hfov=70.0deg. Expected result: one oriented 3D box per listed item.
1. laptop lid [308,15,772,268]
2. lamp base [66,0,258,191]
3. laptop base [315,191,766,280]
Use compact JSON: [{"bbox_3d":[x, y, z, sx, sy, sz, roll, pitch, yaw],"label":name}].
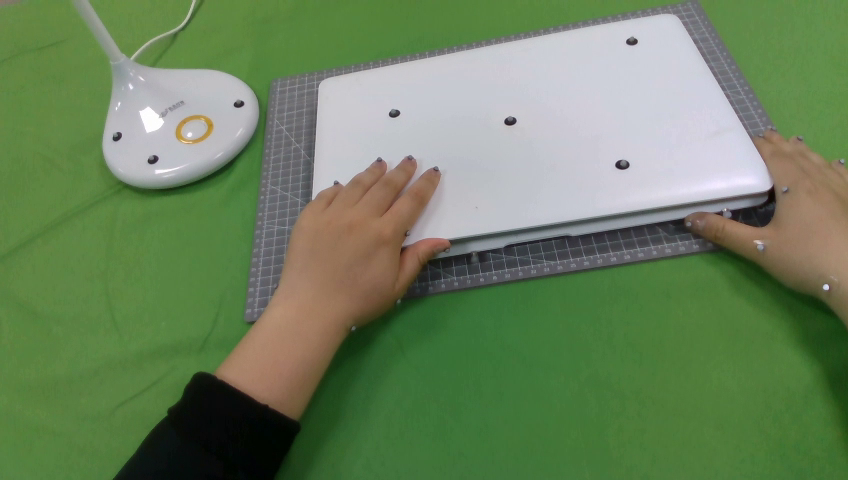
[{"bbox_3d":[0.074,-0.097,0.520,0.356,0.013,0.239,-8,51,5],"label":"laptop lid"},{"bbox_3d":[-0.270,-0.161,0.560,0.178,0.182,0.160,24,62,29],"label":"lamp base"},{"bbox_3d":[0.077,-0.087,0.536,0.354,0.023,0.233,-10,56,4],"label":"laptop base"}]
